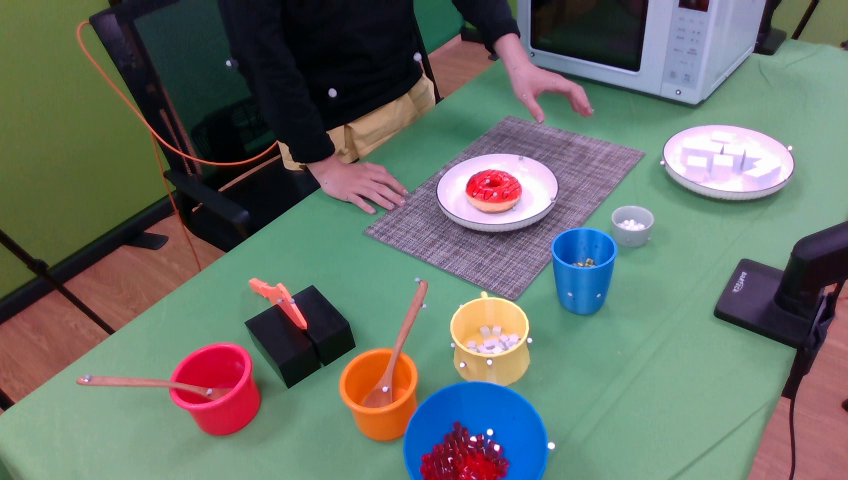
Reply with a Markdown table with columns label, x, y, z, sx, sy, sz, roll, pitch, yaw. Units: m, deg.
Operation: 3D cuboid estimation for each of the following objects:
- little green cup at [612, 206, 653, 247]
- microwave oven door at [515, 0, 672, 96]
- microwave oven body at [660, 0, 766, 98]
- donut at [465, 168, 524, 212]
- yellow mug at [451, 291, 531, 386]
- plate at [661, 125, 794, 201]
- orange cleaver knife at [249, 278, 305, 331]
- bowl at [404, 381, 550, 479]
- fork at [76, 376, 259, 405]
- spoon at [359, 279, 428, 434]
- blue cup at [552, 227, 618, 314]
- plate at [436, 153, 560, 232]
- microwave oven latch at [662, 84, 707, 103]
| label | x | y | z | sx | sy | sz | roll | pitch | yaw |
| --- | --- | --- | --- | --- | --- | --- | --- | --- | --- |
| little green cup | 0.321 | -0.019 | 0.936 | 0.061 | 0.039 | 0.061 | -4 | 40 | 4 |
| microwave oven door | 0.344 | -0.455 | 1.260 | 0.353 | 0.245 | 0.039 | 26 | 51 | 33 |
| microwave oven body | 0.472 | -0.513 | 1.317 | 0.438 | 0.261 | 0.327 | 26 | 51 | 34 |
| donut | 0.119 | -0.084 | 1.021 | 0.099 | 0.048 | 0.098 | -3 | 39 | 3 |
| yellow mug | 0.085 | 0.120 | 0.786 | 0.100 | 0.064 | 0.130 | -7 | 39 | 1 |
| plate | 0.513 | -0.128 | 1.035 | 0.207 | 0.039 | 0.206 | -4 | 40 | 4 |
| orange cleaver knife | -0.210 | 0.088 | 0.856 | 0.012 | 0.077 | 0.210 | -28 | 15 | -25 |
| bowl | 0.058 | 0.235 | 0.645 | 0.151 | 0.077 | 0.150 | -4 | 39 | 4 |
| fork | -0.295 | 0.176 | 0.716 | 0.209 | 0.018 | 0.028 | 19 | 27 | -36 |
| spoon | -0.032 | 0.138 | 0.719 | 0.041 | 0.193 | 0.022 | 22 | 4 | 29 |
| blue cup | 0.218 | 0.047 | 0.826 | 0.092 | 0.100 | 0.092 | -6 | 40 | 5 |
| plate | 0.125 | -0.078 | 1.029 | 0.209 | 0.038 | 0.208 | -4 | 40 | 4 |
| microwave oven latch | 0.517 | -0.296 | 1.204 | 0.078 | 0.029 | 0.030 | 27 | 52 | 35 |
